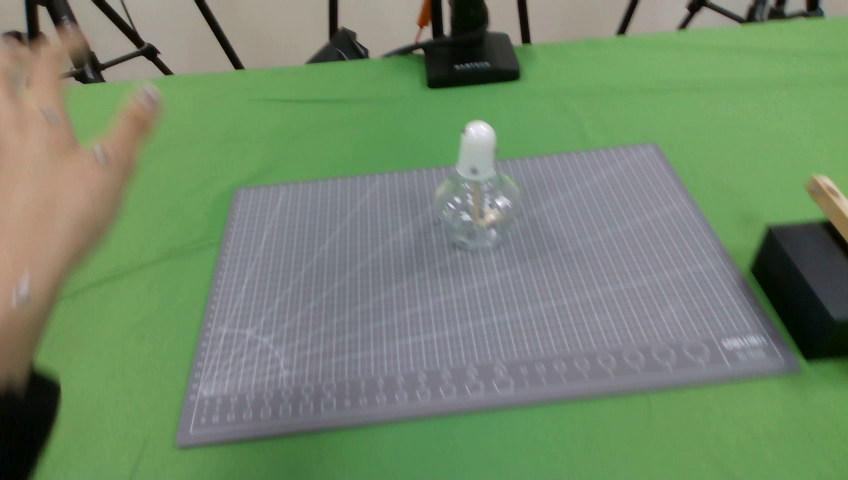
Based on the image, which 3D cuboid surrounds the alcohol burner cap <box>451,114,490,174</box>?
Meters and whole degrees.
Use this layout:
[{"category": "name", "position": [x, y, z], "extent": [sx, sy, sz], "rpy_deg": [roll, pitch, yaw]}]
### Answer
[{"category": "alcohol burner cap", "position": [0.040, -0.082, 0.505], "extent": [0.034, 0.048, 0.033], "rpy_deg": [1, 43, -1]}]

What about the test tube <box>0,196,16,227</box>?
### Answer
[{"category": "test tube", "position": [-0.414, -0.071, 0.543], "extent": [0.017, 0.152, 0.017], "rpy_deg": [-5, 42, 5]}]

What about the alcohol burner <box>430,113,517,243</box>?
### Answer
[{"category": "alcohol burner", "position": [0.043, -0.056, 0.530], "extent": [0.078, 0.120, 0.077], "rpy_deg": [-3, 42, 3]}]

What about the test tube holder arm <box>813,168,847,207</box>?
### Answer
[{"category": "test tube holder arm", "position": [0.326, 0.005, 0.441], "extent": [0.013, 0.015, 0.176], "rpy_deg": [1, 44, -6]}]

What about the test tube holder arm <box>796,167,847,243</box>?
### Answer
[{"category": "test tube holder arm", "position": [0.318, -0.026, 0.472], "extent": [0.010, 0.015, 0.087], "rpy_deg": [1, 44, -6]}]

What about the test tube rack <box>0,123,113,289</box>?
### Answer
[{"category": "test tube rack", "position": [-0.413, -0.002, 0.543], "extent": [0.066, 0.086, 0.241], "rpy_deg": [18, 48, 23]}]
